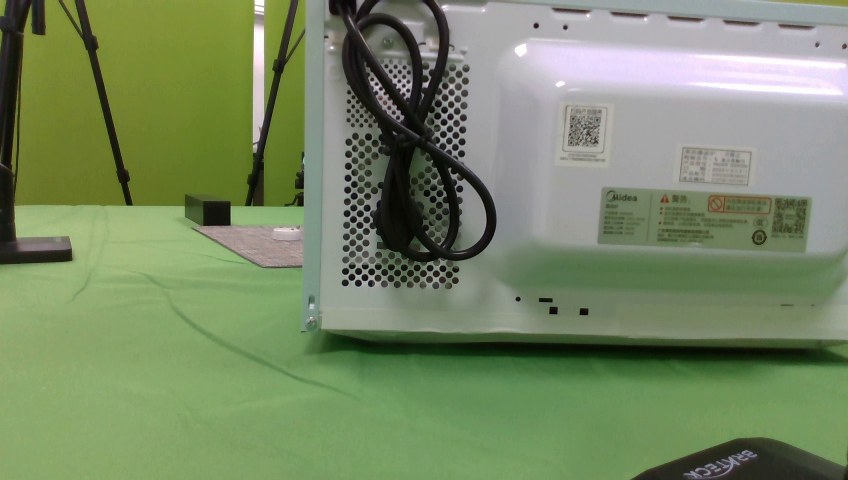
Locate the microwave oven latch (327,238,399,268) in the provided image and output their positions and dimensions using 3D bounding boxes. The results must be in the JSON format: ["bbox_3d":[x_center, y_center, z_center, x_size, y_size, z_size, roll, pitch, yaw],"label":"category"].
[{"bbox_3d":[-0.069,0.015,0.694,0.079,0.029,0.030,3,7,-3],"label":"microwave oven latch"}]

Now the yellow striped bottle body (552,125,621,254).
[{"bbox_3d":[0.157,-0.050,0.586,0.063,0.120,0.063,0,7,0],"label":"yellow striped bottle body"}]

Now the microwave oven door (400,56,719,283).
[{"bbox_3d":[0.155,-0.077,0.698,0.356,0.243,0.039,2,8,-5],"label":"microwave oven door"}]

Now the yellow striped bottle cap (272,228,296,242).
[{"bbox_3d":[-0.232,-0.008,1.012,0.044,0.018,0.044,3,9,0],"label":"yellow striped bottle cap"}]

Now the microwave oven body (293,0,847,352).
[{"bbox_3d":[0.122,-0.055,0.550,0.442,0.260,0.325,3,7,-5],"label":"microwave oven body"}]
